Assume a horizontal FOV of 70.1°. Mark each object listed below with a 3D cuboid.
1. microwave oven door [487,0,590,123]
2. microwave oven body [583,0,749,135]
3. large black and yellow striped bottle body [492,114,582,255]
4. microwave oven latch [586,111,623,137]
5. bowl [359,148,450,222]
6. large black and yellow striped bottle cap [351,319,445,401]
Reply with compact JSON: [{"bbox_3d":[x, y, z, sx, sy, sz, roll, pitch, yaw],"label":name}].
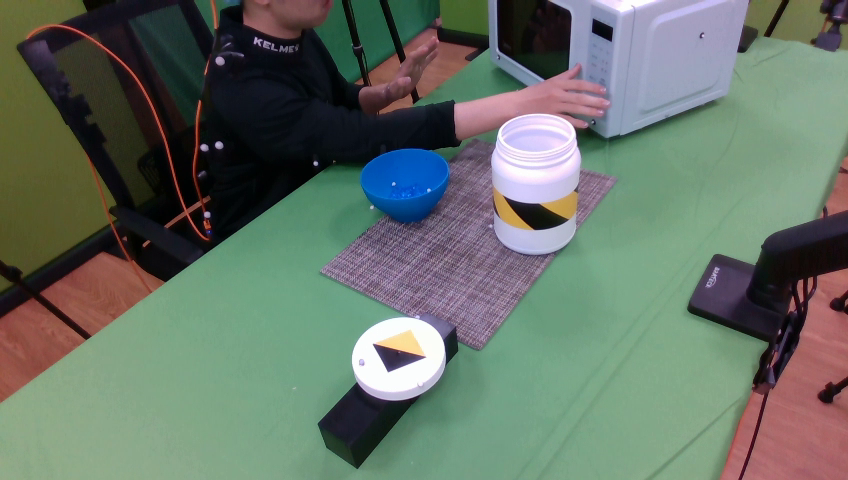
[{"bbox_3d":[0.232,-0.420,1.230,0.039,0.245,0.352,-22,43,-16],"label":"microwave oven door"},{"bbox_3d":[0.382,-0.444,1.246,0.327,0.261,0.437,-22,42,-16],"label":"microwave oven body"},{"bbox_3d":[0.169,-0.083,0.912,0.131,0.185,0.130,-4,41,4],"label":"large black and yellow striped bottle body"},{"bbox_3d":[0.338,-0.222,1.142,0.030,0.029,0.078,-19,41,-12],"label":"microwave oven latch"},{"bbox_3d":[-0.029,-0.083,1.022,0.151,0.077,0.150,-4,40,4],"label":"bowl"},{"bbox_3d":[-0.031,0.143,0.734,0.115,0.019,0.114,-3,40,3],"label":"large black and yellow striped bottle cap"}]
